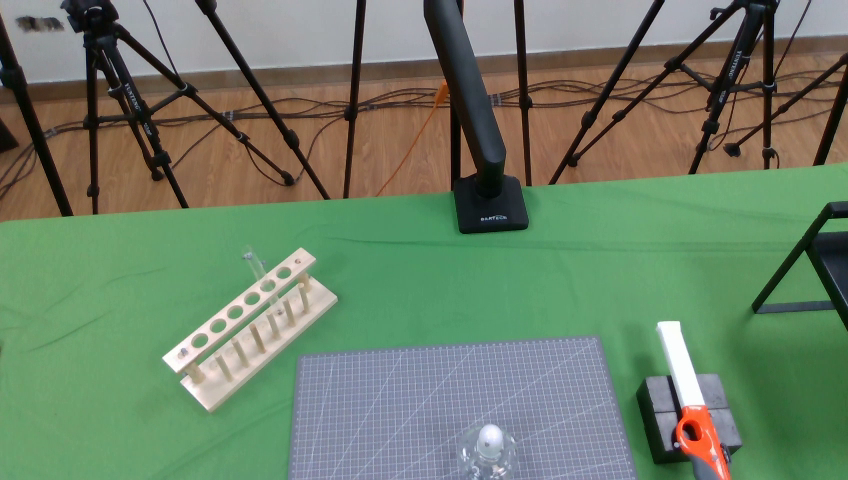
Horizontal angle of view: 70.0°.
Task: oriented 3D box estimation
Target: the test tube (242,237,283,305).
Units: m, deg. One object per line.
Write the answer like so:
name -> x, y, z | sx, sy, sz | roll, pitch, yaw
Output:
test tube -> -0.228, 0.048, 0.865 | 0.017, 0.152, 0.017 | -4, 51, 5

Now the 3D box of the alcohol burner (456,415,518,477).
alcohol burner -> 0.080, 0.249, 0.753 | 0.078, 0.120, 0.077 | 1, 51, 0

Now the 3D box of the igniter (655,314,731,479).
igniter -> 0.344, 0.215, 0.775 | 0.057, 0.025, 0.274 | -2, 51, 2

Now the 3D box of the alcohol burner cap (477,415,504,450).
alcohol burner cap -> 0.080, 0.228, 0.724 | 0.034, 0.048, 0.033 | -3, 55, 4

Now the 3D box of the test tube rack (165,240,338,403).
test tube rack -> -0.240, 0.114, 0.877 | 0.066, 0.086, 0.242 | 35, 61, 24
